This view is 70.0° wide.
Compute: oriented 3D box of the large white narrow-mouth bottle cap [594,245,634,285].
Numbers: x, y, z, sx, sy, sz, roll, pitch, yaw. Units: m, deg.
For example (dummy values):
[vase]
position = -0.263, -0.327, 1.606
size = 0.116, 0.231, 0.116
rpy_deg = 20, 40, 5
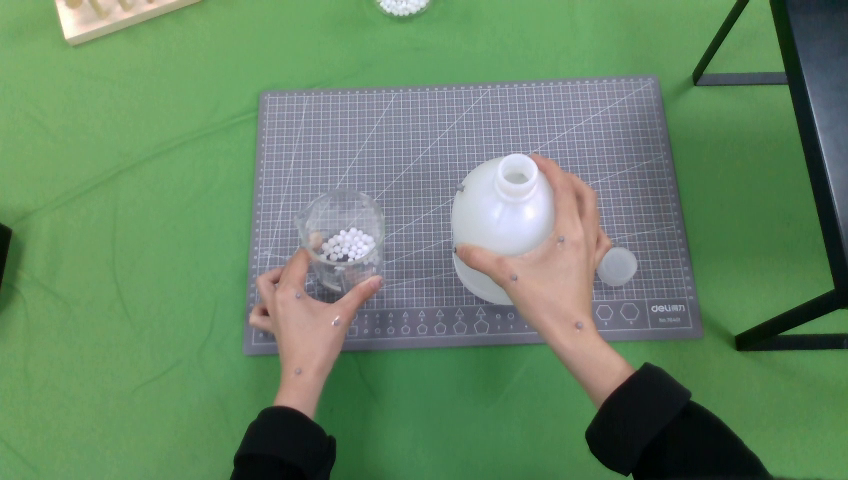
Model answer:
[large white narrow-mouth bottle cap]
position = 0.189, 0.026, 0.604
size = 0.038, 0.024, 0.037
rpy_deg = -1, 72, 3

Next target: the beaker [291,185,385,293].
[beaker]
position = -0.079, 0.004, 0.574
size = 0.084, 0.101, 0.073
rpy_deg = 11, 67, 1

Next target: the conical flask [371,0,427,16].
[conical flask]
position = -0.031, -0.318, 0.676
size = 0.075, 0.122, 0.075
rpy_deg = -1, 70, 2

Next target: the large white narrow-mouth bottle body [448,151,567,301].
[large white narrow-mouth bottle body]
position = 0.072, -0.017, 0.529
size = 0.102, 0.196, 0.101
rpy_deg = -2, 69, 5

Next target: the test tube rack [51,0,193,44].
[test tube rack]
position = -0.327, -0.321, 0.703
size = 0.242, 0.086, 0.066
rpy_deg = -22, 72, -6
